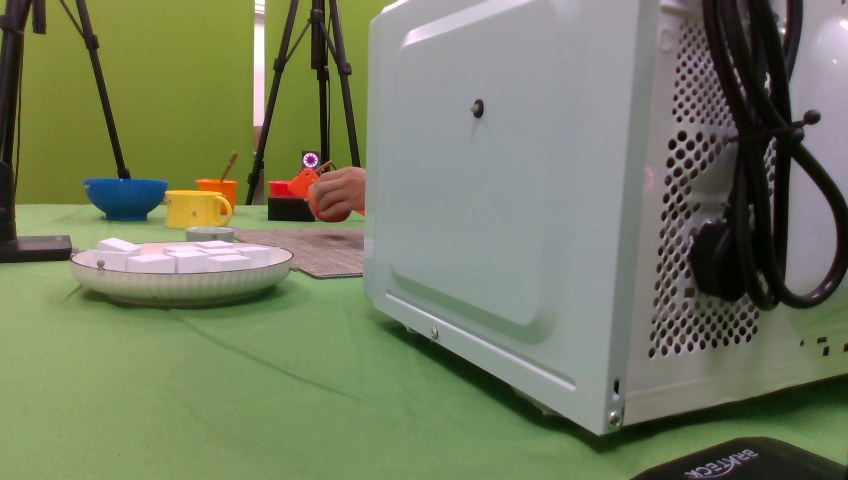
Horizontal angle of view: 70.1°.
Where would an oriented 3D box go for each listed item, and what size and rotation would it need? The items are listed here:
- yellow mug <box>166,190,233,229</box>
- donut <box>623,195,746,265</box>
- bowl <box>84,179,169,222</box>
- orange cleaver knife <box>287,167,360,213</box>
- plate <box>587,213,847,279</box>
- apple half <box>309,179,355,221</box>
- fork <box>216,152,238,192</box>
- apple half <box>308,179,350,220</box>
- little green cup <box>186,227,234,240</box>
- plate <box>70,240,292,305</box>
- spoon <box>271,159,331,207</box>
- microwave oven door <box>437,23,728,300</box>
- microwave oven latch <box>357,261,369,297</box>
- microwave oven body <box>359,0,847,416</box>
[{"bbox_3d":[-0.415,-0.057,1.132,0.130,0.064,0.100,6,8,16],"label":"yellow mug"},{"bbox_3d":[0.221,-0.007,0.518,0.099,0.048,0.099,20,0,0],"label":"donut"},{"bbox_3d":[-0.584,-0.078,1.194,0.151,0.077,0.151,3,8,0],"label":"bowl"},{"bbox_3d":[-0.210,-0.089,1.383,0.212,0.077,0.012,31,3,-15],"label":"orange cleaver knife"},{"bbox_3d":[0.244,0.002,0.512,0.209,0.038,0.209,2,7,0],"label":"plate"},{"bbox_3d":[-0.157,-0.068,1.061,0.081,0.074,0.053,-2,15,-28],"label":"apple half"},{"bbox_3d":[-0.455,-0.132,1.366,0.028,0.018,0.207,-2,-35,-37],"label":"fork"},{"bbox_3d":[-0.175,-0.075,1.093,0.082,0.081,0.032,-2,13,-28],"label":"apple half"},{"bbox_3d":[-0.285,0.005,0.805,0.061,0.038,0.061,2,8,0],"label":"little green cup"},{"bbox_3d":[-0.242,0.031,0.618,0.208,0.039,0.207,2,8,0],"label":"plate"},{"bbox_3d":[-0.308,-0.142,1.513,0.193,0.021,0.041,-42,3,9],"label":"spoon"},{"bbox_3d":[0.181,-0.072,0.621,0.358,0.243,0.039,-2,8,-29],"label":"microwave oven door"},{"bbox_3d":[-0.019,0.033,0.531,0.079,0.029,0.030,-1,7,-28],"label":"microwave oven latch"},{"bbox_3d":[0.211,-0.047,0.474,0.444,0.260,0.324,-1,7,-28],"label":"microwave oven body"}]
